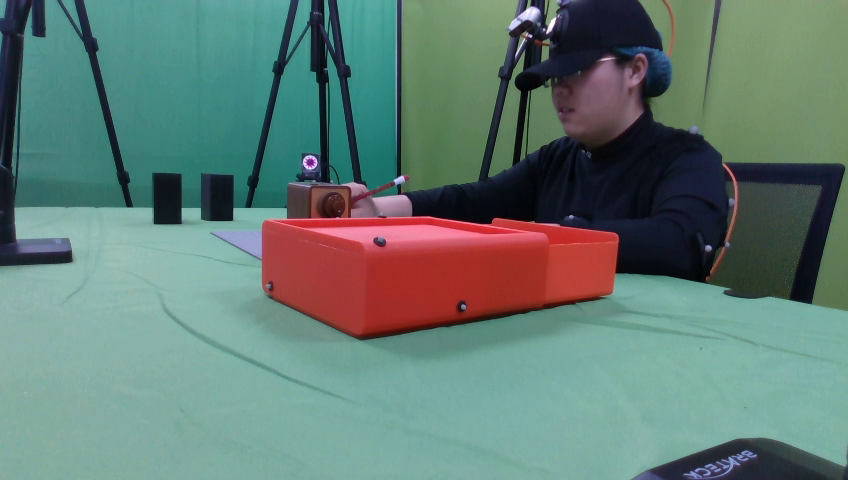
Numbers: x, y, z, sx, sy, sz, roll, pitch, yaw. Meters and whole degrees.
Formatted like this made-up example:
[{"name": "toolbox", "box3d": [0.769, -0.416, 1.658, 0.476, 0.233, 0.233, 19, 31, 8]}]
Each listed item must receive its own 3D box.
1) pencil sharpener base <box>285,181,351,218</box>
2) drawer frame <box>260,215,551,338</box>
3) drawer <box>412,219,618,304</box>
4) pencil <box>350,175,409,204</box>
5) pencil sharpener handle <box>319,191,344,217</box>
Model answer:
[{"name": "pencil sharpener base", "box3d": [-0.139, -0.021, 0.789, 0.062, 0.107, 0.076, -2, 9, -36]}, {"name": "drawer frame", "box3d": [-0.021, 0.023, 0.595, 0.215, 0.082, 0.200, -4, 10, -38]}, {"name": "drawer", "box3d": [0.071, 0.020, 0.670, 0.213, 0.073, 0.193, -3, 10, -39]}, {"name": "pencil", "box3d": [-0.115, -0.078, 1.104, 0.194, 0.012, 0.012, -25, 15, -15]}, {"name": "pencil sharpener handle", "box3d": [-0.107, -0.026, 0.748, 0.036, 0.067, 0.030, -6, 11, -36]}]
